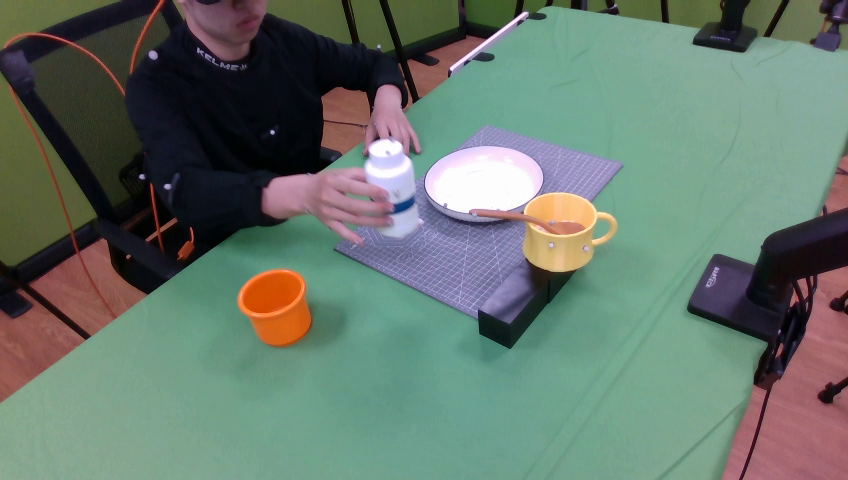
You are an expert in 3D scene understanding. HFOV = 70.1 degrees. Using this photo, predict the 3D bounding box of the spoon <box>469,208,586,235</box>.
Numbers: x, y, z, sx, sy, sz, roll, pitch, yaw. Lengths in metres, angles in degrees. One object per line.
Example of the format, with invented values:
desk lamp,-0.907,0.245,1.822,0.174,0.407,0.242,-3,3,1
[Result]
spoon,0.143,-0.026,0.817,0.195,0.021,0.041,12,35,-29

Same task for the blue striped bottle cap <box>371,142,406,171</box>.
blue striped bottle cap,-0.045,-0.106,0.765,0.044,0.021,0.044,-2,37,2

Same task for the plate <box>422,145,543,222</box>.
plate,0.101,-0.094,1.048,0.207,0.039,0.206,-4,41,4

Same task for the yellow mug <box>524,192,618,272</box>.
yellow mug,0.206,-0.014,0.845,0.131,0.064,0.099,-3,40,2

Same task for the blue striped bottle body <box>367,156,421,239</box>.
blue striped bottle body,-0.040,-0.066,0.797,0.063,0.121,0.063,-3,37,3
